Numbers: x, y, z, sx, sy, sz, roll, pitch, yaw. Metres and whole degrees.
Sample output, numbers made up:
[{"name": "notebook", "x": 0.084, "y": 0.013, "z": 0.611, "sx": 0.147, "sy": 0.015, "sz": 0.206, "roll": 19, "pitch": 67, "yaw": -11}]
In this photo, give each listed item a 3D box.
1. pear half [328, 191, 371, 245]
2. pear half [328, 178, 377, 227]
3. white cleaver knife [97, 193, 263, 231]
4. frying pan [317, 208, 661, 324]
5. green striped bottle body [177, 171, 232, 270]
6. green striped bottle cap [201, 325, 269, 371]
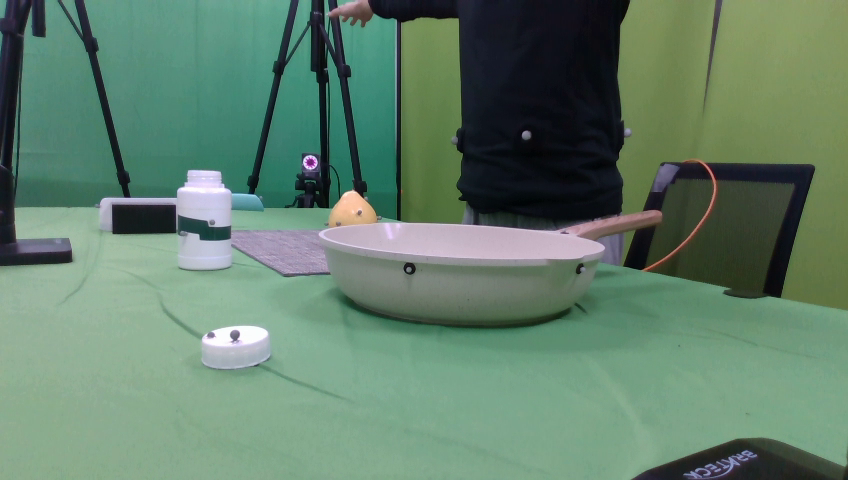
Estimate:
[{"name": "pear half", "x": -0.124, "y": -0.037, "z": 0.976, "sx": 0.071, "sy": 0.088, "sz": 0.031, "roll": -6, "pitch": 11, "yaw": -26}, {"name": "pear half", "x": -0.109, "y": -0.042, "z": 0.942, "sx": 0.077, "sy": 0.110, "sz": 0.055, "roll": -6, "pitch": 10, "yaw": -25}, {"name": "white cleaver knife", "x": -0.444, "y": -0.053, "z": 1.121, "sx": 0.288, "sy": 0.066, "sz": 0.021, "roll": -4, "pitch": 16, "yaw": -27}, {"name": "frying pan", "x": 0.121, "y": 0.006, "z": 0.691, "sx": 0.490, "sy": 0.102, "sz": 0.305, "roll": -13, "pitch": 15, "yaw": -33}, {"name": "green striped bottle body", "x": -0.273, "y": -0.026, "z": 0.752, "sx": 0.063, "sy": 0.119, "sz": 0.063, "roll": 2, "pitch": 7, "yaw": 0}, {"name": "green striped bottle cap", "x": -0.129, "y": 0.073, "z": 0.415, "sx": 0.044, "sy": 0.020, "sz": 0.044, "roll": 2, "pitch": 8, "yaw": 0}]
